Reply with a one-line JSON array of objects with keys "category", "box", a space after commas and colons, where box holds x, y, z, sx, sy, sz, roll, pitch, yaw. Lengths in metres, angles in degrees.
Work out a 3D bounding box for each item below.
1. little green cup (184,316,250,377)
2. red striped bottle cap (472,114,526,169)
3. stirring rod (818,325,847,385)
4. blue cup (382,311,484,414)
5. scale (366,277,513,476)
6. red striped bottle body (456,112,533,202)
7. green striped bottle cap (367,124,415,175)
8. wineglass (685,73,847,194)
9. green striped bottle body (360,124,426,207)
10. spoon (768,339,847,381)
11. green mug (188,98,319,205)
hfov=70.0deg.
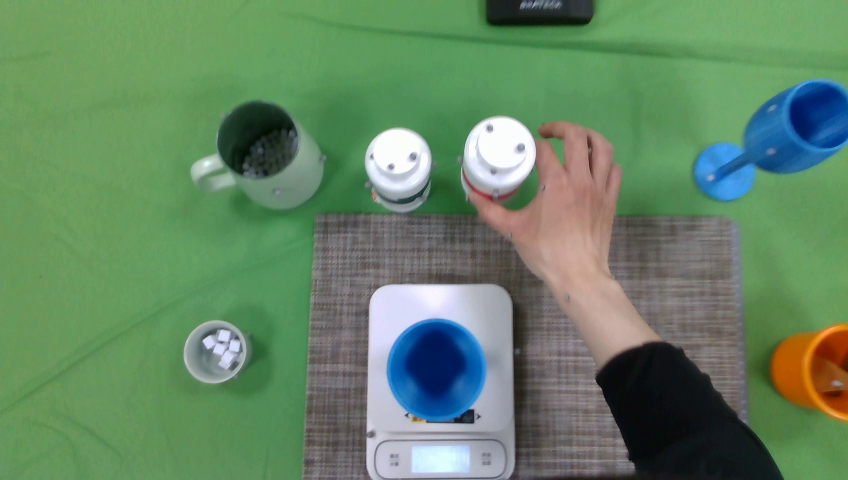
[{"category": "little green cup", "box": [-0.209, 0.108, 0.621, 0.061, 0.039, 0.061, 0, 81, -2]}, {"category": "red striped bottle cap", "box": [0.063, -0.082, 0.503, 0.044, 0.018, 0.044, 0, 84, 0]}, {"category": "stirring rod", "box": [0.411, 0.081, 0.575, 0.014, 0.178, 0.006, 7, 41, 13]}, {"category": "blue cup", "box": [0.008, 0.108, 0.557, 0.092, 0.100, 0.092, 0, 84, 0]}, {"category": "scale", "box": [0.015, 0.138, 0.619, 0.149, 0.031, 0.200, 0, 82, 0]}, {"category": "red striped bottle body", "box": [0.063, -0.076, 0.556, 0.063, 0.120, 0.063, 0, 83, 1]}, {"category": "green striped bottle cap", "box": [-0.031, -0.083, 0.557, 0.044, 0.020, 0.044, 0, 80, -1]}, {"category": "wineglass", "box": [0.321, -0.096, 0.587, 0.074, 0.172, 0.073, 0, 81, 0]}, {"category": "green striped bottle body", "box": [-0.030, -0.075, 0.608, 0.063, 0.119, 0.063, 0, 81, 0]}, {"category": "spoon", "box": [0.430, 0.133, 0.568, 0.022, 0.192, 0.041, 16, 88, -42]}, {"category": "green mug", "box": [-0.175, -0.082, 0.616, 0.125, 0.105, 0.092, -22, 82, -3]}]
